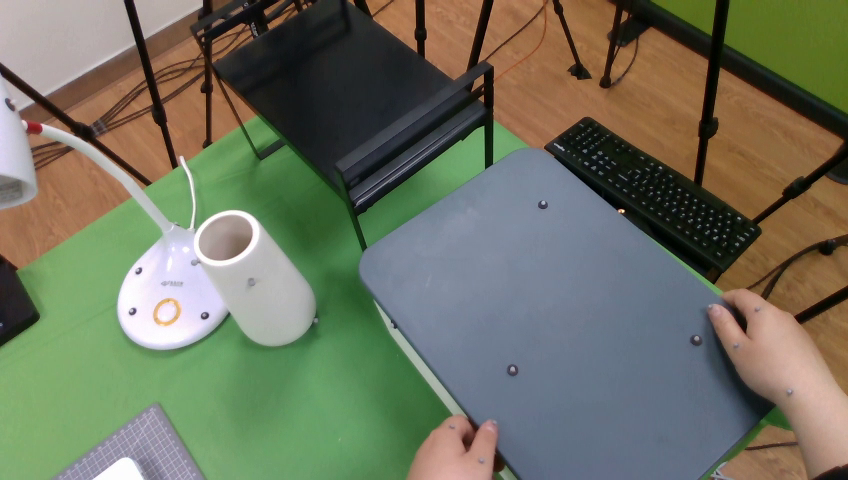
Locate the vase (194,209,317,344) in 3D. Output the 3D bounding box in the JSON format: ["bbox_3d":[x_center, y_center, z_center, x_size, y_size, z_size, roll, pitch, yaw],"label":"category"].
[{"bbox_3d":[-0.194,0.046,0.706,0.098,0.202,0.097,-4,58,6],"label":"vase"}]

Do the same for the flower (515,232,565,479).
[{"bbox_3d":[0.144,0.151,0.706,0.044,0.038,0.358,-19,55,27],"label":"flower"}]

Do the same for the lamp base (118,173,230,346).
[{"bbox_3d":[-0.336,0.016,0.750,0.160,0.182,0.177,-8,56,1],"label":"lamp base"}]

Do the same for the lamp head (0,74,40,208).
[{"bbox_3d":[-0.363,-0.089,0.465,0.112,0.113,0.122,-11,76,-1],"label":"lamp head"}]

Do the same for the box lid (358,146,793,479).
[{"bbox_3d":[0.130,0.071,0.593,0.263,0.015,0.368,-35,62,-16],"label":"box lid"}]

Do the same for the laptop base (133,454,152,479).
[{"bbox_3d":[-0.395,0.419,0.606,0.354,0.023,0.233,-38,66,-16],"label":"laptop base"}]

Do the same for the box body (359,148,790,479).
[{"bbox_3d":[0.138,0.111,0.656,0.254,0.162,0.360,-35,62,-15],"label":"box body"}]

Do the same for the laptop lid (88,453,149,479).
[{"bbox_3d":[-0.394,0.415,0.595,0.356,0.013,0.239,-36,65,-15],"label":"laptop lid"}]
